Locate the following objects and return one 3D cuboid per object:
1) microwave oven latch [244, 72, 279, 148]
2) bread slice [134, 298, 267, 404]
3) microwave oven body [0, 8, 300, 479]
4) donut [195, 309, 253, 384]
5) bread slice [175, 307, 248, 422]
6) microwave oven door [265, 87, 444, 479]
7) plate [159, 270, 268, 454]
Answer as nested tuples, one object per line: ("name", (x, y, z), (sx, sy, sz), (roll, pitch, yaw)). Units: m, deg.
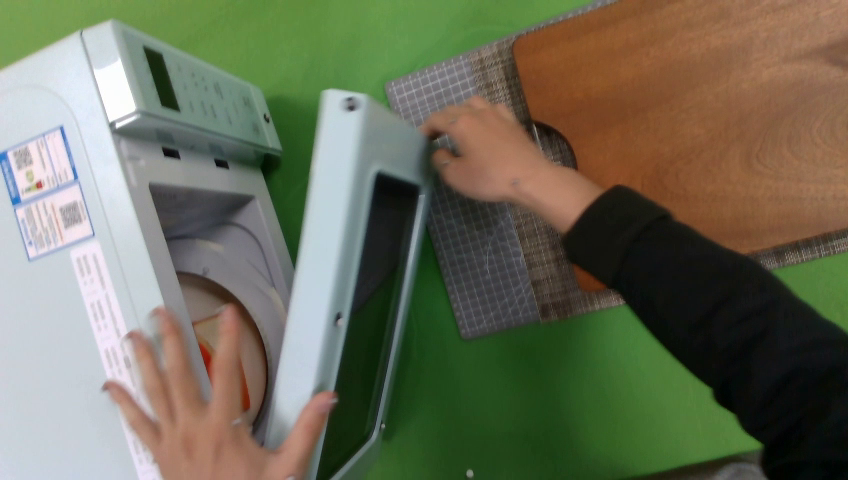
("microwave oven latch", (-0.189, -0.143, 0.672), (0.030, 0.029, 0.079), (-18, 89, 12))
("bread slice", (-0.251, 0.131, 0.671), (0.131, 0.019, 0.105), (-15, 99, 0))
("microwave oven body", (-0.292, 0.074, 0.606), (0.326, 0.260, 0.441), (-19, 88, 12))
("donut", (-0.228, 0.119, 0.630), (0.099, 0.048, 0.099), (-1, 108, -4))
("bread slice", (-0.240, 0.138, 0.585), (0.134, 0.018, 0.107), (-33, 90, 24))
("microwave oven door", (-0.057, 0.062, 0.547), (0.039, 0.244, 0.356), (13, 95, 13))
("plate", (-0.263, 0.134, 0.651), (0.207, 0.039, 0.207), (0, 91, 8))
